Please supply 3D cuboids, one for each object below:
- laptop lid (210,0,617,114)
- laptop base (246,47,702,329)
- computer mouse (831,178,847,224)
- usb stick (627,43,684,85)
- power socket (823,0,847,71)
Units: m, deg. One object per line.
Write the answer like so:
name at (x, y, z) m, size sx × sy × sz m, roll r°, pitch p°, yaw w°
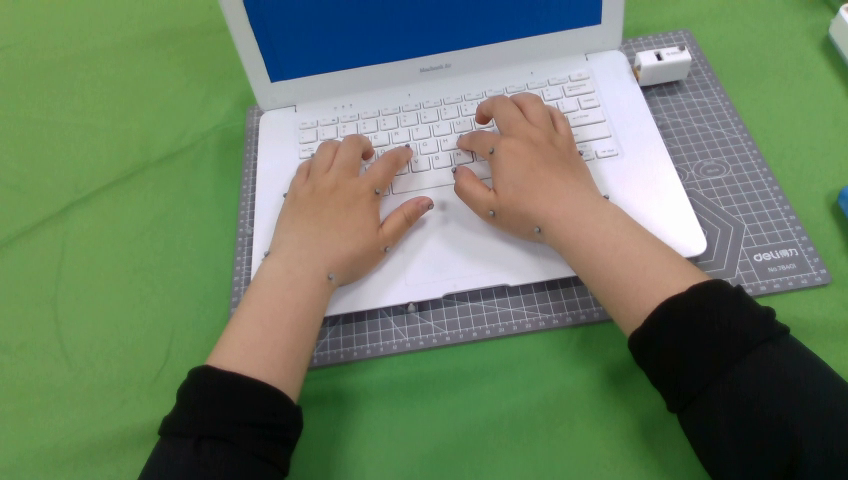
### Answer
laptop lid at (-0.009, -0.235, 0.509) m, size 0.357 × 0.244 × 0.013 m, roll -11°, pitch 42°, yaw 3°
laptop base at (0.024, -0.054, 0.523) m, size 0.354 × 0.023 × 0.233 m, roll -10°, pitch 59°, yaw 2°
computer mouse at (0.347, -0.008, 0.430) m, size 0.063 × 0.041 × 0.116 m, roll -10°, pitch 50°, yaw 5°
usb stick at (0.202, -0.159, 0.551) m, size 0.059 × 0.027 × 0.021 m, roll -10°, pitch 55°, yaw 6°
power socket at (0.413, -0.132, 0.507) m, size 0.072 × 0.033 × 0.224 m, roll -7°, pitch 56°, yaw 5°
